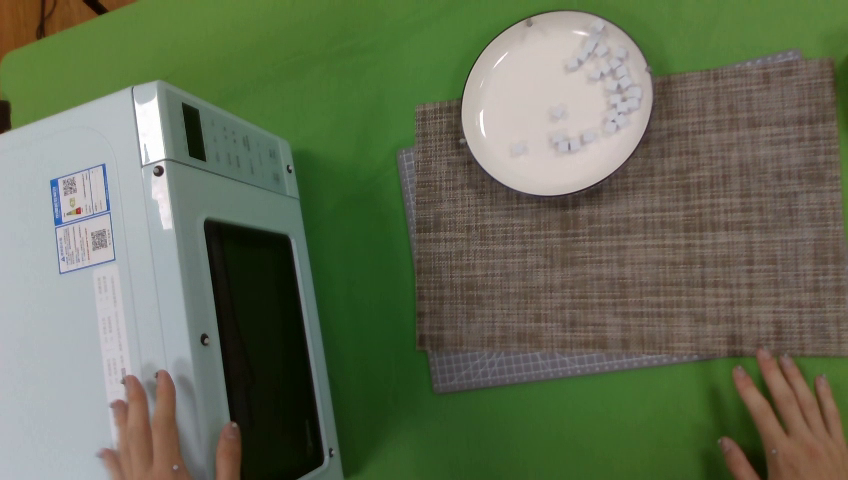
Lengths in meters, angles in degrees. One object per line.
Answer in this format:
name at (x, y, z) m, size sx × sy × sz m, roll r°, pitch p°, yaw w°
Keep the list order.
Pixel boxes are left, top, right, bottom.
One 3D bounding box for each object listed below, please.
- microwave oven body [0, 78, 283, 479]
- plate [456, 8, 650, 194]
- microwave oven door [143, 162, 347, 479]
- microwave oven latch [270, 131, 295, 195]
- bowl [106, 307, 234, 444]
microwave oven body at (-0.319, 0.104, 0.684) m, size 0.325 × 0.261 × 0.440 m, roll -13°, pitch 83°, yaw 15°
plate at (0.141, -0.151, 0.677) m, size 0.208 × 0.038 × 0.208 m, roll -2°, pitch 84°, yaw 17°
microwave oven door at (-0.176, 0.112, 0.634) m, size 0.039 × 0.245 × 0.354 m, roll -14°, pitch 82°, yaw 16°
microwave oven latch at (-0.185, -0.093, 0.757) m, size 0.030 × 0.029 × 0.079 m, roll -14°, pitch 83°, yaw 15°
bowl at (-0.276, 0.152, 0.700) m, size 0.151 × 0.077 × 0.151 m, roll -1°, pitch 85°, yaw 16°
